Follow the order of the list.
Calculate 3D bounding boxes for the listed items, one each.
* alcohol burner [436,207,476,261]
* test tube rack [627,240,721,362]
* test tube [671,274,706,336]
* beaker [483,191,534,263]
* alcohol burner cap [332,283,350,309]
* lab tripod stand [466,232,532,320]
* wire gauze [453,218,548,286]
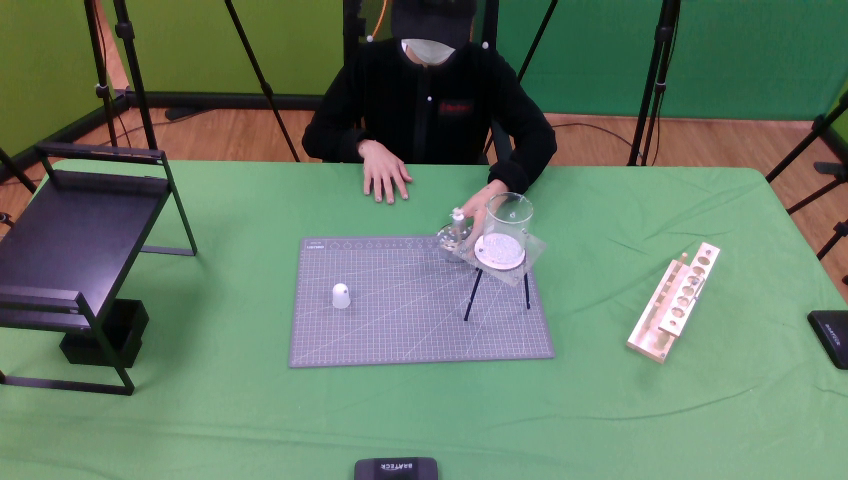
[{"bbox_3d":[0.062,-0.016,1.148,0.078,0.120,0.077,1,47,-1],"label":"alcohol burner"},{"bbox_3d":[0.452,0.098,1.087,0.066,0.085,0.242,28,51,22],"label":"test tube rack"},{"bbox_3d":[0.429,0.112,1.004,0.017,0.151,0.017,4,43,-4],"label":"test tube"},{"bbox_3d":[0.135,-0.020,0.983,0.073,0.101,0.084,28,50,23],"label":"beaker"},{"bbox_3d":[-0.148,0.096,1.075,0.034,0.048,0.033,3,46,-3],"label":"alcohol burner cap"},{"bbox_3d":[0.125,0.059,1.065,0.148,0.132,0.147,1,45,0],"label":"lab tripod stand"},{"bbox_3d":[0.129,0.014,1.019,0.124,0.011,0.121,26,47,25],"label":"wire gauze"}]
